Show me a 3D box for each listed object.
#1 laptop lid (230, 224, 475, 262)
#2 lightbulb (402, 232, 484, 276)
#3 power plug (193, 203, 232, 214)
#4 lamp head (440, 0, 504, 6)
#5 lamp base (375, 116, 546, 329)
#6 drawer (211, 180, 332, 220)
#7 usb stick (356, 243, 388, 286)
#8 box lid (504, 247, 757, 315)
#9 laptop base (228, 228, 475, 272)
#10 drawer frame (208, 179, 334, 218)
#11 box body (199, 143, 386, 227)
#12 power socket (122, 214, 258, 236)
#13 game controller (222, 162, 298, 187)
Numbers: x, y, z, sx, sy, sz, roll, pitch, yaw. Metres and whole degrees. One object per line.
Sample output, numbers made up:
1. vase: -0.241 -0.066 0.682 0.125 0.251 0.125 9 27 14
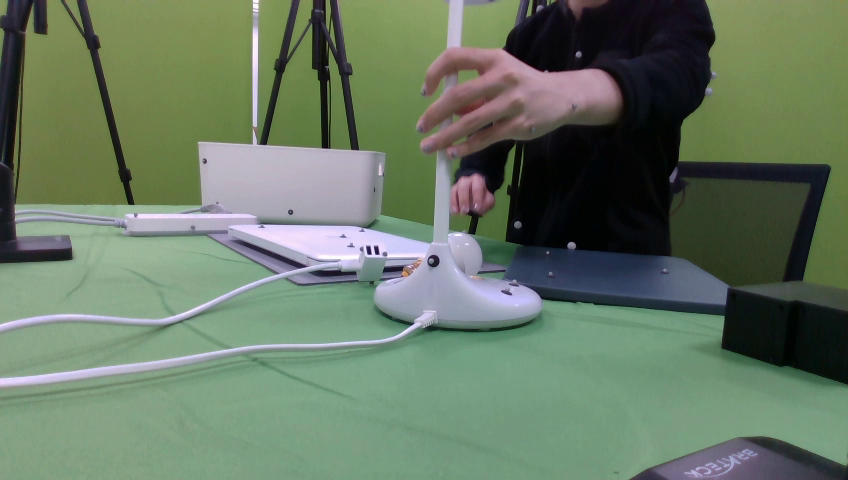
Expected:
1. laptop lid: -0.120 0.000 0.889 0.243 0.013 0.355 1 7 -33
2. lightbulb: 0.021 0.028 0.694 0.108 0.059 0.059 -20 18 -31
3. power plug: -0.393 -0.042 1.139 0.072 0.052 0.035 -14 1 31
4. lamp head: 0.051 -0.300 0.576 0.112 0.123 0.112 -8 50 10
5. lamp base: 0.033 -0.019 0.549 0.160 0.180 0.179 4 10 12
6. drawer: -0.328 -0.095 1.332 0.212 0.073 0.194 5 8 6
7. usb stick: -0.058 0.029 0.658 0.027 0.059 0.021 -4 52 -18
8. box lid: 0.244 0.044 0.793 0.263 0.015 0.372 4 7 10
9. laptop base: -0.122 0.011 0.889 0.237 0.023 0.352 1 6 -35
10. drawer frame: -0.327 -0.093 1.328 0.213 0.082 0.202 0 5 6
11. box body: -0.276 -0.124 1.335 0.364 0.160 0.254 3 7 1
12. power socket: -0.398 -0.028 1.049 0.228 0.032 0.072 -3 8 -34
13. game controller: -0.357 -0.143 1.322 0.156 0.051 0.097 1 3 -16
